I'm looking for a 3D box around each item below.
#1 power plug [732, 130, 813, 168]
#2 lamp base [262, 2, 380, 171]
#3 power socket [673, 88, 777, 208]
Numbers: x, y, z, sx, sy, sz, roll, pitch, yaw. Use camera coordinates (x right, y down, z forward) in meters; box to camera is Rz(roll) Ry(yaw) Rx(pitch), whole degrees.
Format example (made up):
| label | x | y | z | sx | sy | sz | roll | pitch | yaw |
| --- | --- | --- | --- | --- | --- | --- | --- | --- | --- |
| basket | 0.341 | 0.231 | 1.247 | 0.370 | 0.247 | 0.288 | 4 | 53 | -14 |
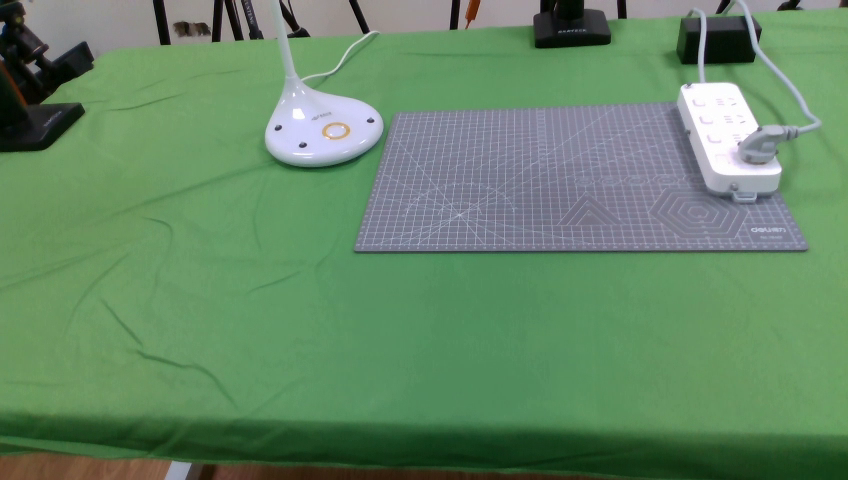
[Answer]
| label | x | y | z | sx | sy | sz | roll | pitch | yaw |
| --- | --- | --- | --- | --- | --- | --- | --- | --- | --- |
| power plug | 0.365 | -0.088 | 0.638 | 0.072 | 0.053 | 0.035 | 8 | 42 | 16 |
| lamp base | -0.156 | -0.204 | 0.779 | 0.160 | 0.182 | 0.177 | -35 | 45 | -29 |
| power socket | 0.347 | -0.118 | 0.713 | 0.072 | 0.033 | 0.225 | 2 | 40 | 8 |
